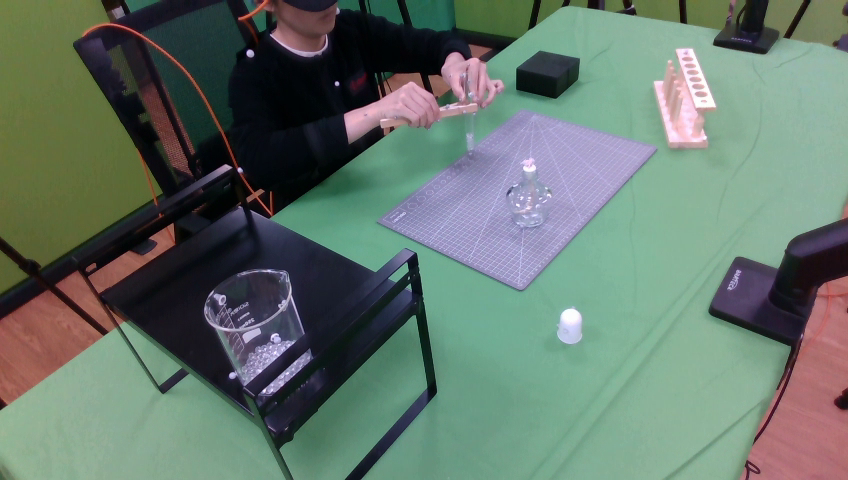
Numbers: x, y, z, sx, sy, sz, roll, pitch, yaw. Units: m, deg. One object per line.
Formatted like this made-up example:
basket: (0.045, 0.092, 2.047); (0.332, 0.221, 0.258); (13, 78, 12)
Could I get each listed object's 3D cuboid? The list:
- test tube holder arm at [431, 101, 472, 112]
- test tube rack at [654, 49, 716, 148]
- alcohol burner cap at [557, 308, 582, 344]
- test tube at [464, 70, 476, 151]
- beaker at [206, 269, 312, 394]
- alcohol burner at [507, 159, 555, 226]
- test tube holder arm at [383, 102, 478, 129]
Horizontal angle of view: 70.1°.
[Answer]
test tube holder arm: (0.049, -0.231, 1.072); (0.088, 0.015, 0.010); (-24, 31, -32)
test tube rack: (0.502, -0.281, 1.176); (0.066, 0.085, 0.241); (2, 41, 11)
alcohol burner cap: (0.194, 0.111, 0.802); (0.034, 0.048, 0.033); (-4, 39, 4)
test tube: (0.084, -0.230, 1.089); (0.017, 0.151, 0.017); (-4, 33, 3)
beaker: (-0.146, 0.086, 0.560); (0.073, 0.101, 0.084); (19, 46, 27)
alcohol burner: (0.172, -0.081, 0.969); (0.078, 0.119, 0.077); (-4, 42, 4)
test tube holder arm: (0.013, -0.216, 1.050); (0.179, 0.015, 0.013); (-16, 26, -19)
